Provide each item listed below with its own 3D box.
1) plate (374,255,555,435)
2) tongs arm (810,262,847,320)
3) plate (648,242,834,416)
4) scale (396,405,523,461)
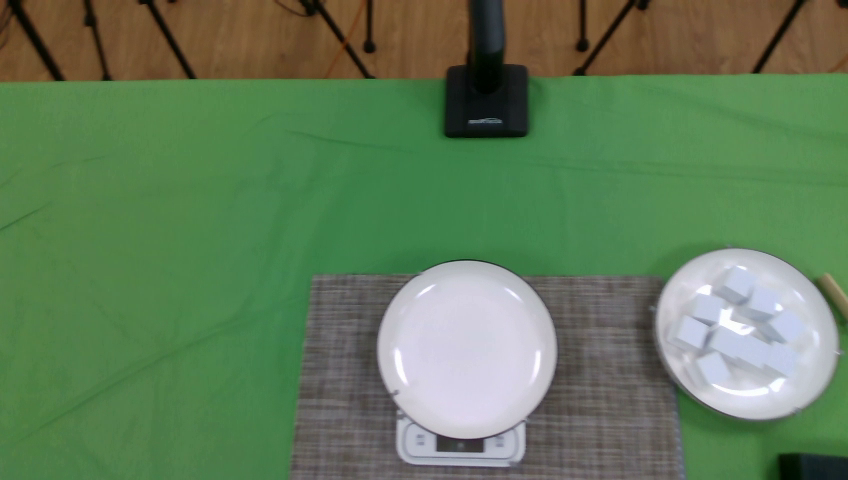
[{"bbox_3d":[0.046,0.120,0.706,0.209,0.038,0.207,-1,71,3],"label":"plate"},{"bbox_3d":[0.579,0.185,0.689,0.028,0.028,0.384,-28,71,-9],"label":"tongs arm"},{"bbox_3d":[0.372,0.105,0.726,0.207,0.039,0.206,-1,70,3],"label":"plate"},{"bbox_3d":[0.043,0.158,0.728,0.148,0.032,0.199,0,71,4],"label":"scale"}]
